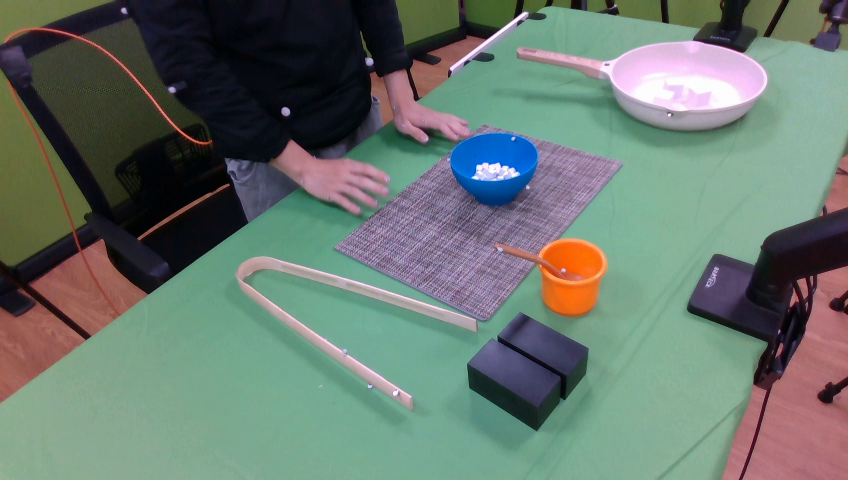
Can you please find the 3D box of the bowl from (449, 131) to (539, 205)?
[{"bbox_3d":[0.121,-0.114,1.034,0.151,0.077,0.150,-4,41,4],"label":"bowl"}]

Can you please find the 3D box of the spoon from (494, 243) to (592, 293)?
[{"bbox_3d":[0.162,0.034,0.808,0.021,0.195,0.041,-47,40,21],"label":"spoon"}]

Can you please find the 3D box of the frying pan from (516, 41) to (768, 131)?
[{"bbox_3d":[0.424,-0.338,1.236,0.486,0.103,0.307,19,45,15],"label":"frying pan"}]

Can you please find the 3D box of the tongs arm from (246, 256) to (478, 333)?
[{"bbox_3d":[-0.101,0.076,0.891,0.385,0.028,0.028,14,47,22],"label":"tongs arm"}]

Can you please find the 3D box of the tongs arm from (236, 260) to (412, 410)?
[{"bbox_3d":[-0.148,0.120,0.839,0.381,0.026,0.051,24,48,32],"label":"tongs arm"}]
